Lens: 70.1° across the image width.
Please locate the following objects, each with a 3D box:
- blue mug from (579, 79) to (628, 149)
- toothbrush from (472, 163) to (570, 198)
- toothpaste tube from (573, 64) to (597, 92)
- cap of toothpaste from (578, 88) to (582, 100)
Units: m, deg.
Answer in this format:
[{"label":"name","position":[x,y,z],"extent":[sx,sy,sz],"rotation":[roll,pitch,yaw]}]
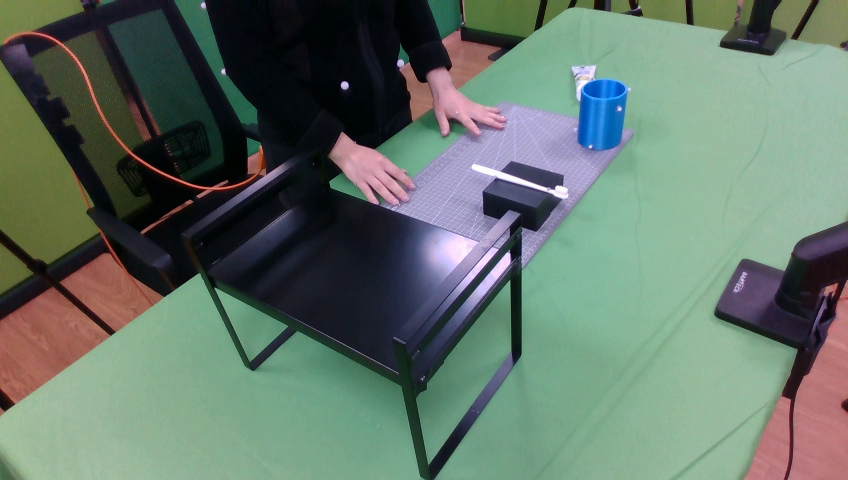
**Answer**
[{"label":"blue mug","position":[0.336,-0.246,1.143],"extent":[0.082,0.106,0.116],"rotation":[0,41,10]},{"label":"toothbrush","position":[0.157,-0.101,0.996],"extent":[0.180,0.017,0.014],"rotation":[22,55,30]},{"label":"toothpaste tube","position":[0.358,-0.355,1.331],"extent":[0.055,0.034,0.164],"rotation":[5,38,8]},{"label":"cap of toothpaste","position":[0.342,-0.308,1.270],"extent":[0.037,0.037,0.011],"rotation":[1,38,10]}]
